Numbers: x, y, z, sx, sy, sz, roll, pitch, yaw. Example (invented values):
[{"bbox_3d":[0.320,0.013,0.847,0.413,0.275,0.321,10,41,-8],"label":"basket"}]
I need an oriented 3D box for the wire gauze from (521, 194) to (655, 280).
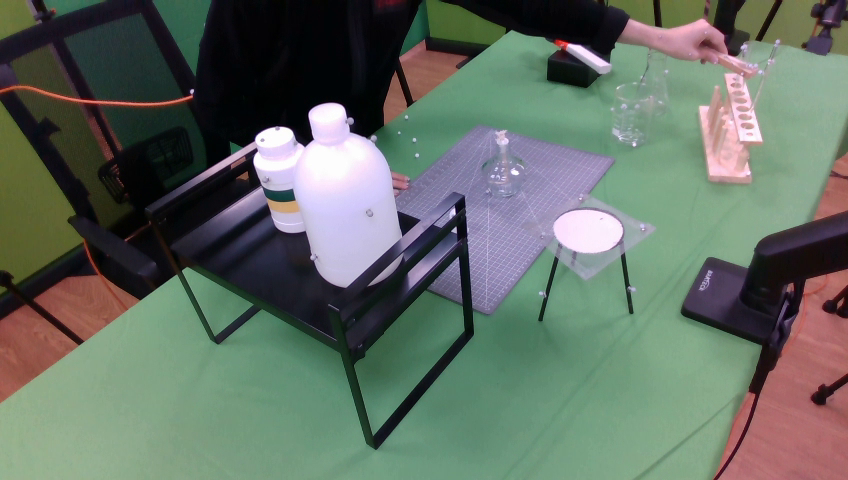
[{"bbox_3d":[0.207,-0.012,0.772,0.122,0.011,0.124,-28,44,-20],"label":"wire gauze"}]

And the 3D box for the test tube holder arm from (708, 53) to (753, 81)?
[{"bbox_3d":[0.544,-0.310,1.075,0.010,0.015,0.087,-28,53,-15],"label":"test tube holder arm"}]

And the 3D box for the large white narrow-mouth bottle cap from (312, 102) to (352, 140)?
[{"bbox_3d":[-0.088,-0.114,0.579,0.038,0.024,0.037,-3,39,3],"label":"large white narrow-mouth bottle cap"}]

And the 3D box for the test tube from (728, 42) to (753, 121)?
[{"bbox_3d":[0.564,-0.280,1.080,0.017,0.151,0.017,-6,41,6],"label":"test tube"}]

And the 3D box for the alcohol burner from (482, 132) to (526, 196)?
[{"bbox_3d":[0.138,-0.136,1.042,0.078,0.119,0.077,-4,43,4],"label":"alcohol burner"}]

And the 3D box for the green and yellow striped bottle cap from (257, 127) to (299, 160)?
[{"bbox_3d":[-0.169,-0.112,0.699,0.045,0.020,0.045,-6,40,5],"label":"green and yellow striped bottle cap"}]

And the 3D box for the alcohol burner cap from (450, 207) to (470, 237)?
[{"bbox_3d":[0.057,-0.032,0.987,0.034,0.048,0.033,-5,41,5],"label":"alcohol burner cap"}]

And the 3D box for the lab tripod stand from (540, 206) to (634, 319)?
[{"bbox_3d":[0.218,0.034,0.821,0.148,0.132,0.147,-4,43,4],"label":"lab tripod stand"}]

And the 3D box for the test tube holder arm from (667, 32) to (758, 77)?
[{"bbox_3d":[0.522,-0.339,1.101,0.013,0.015,0.177,-35,55,-21],"label":"test tube holder arm"}]

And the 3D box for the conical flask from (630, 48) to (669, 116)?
[{"bbox_3d":[0.457,-0.317,1.205,0.075,0.122,0.075,-4,41,4],"label":"conical flask"}]

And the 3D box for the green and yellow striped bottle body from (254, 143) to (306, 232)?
[{"bbox_3d":[-0.165,-0.073,0.732,0.063,0.120,0.063,-4,41,4],"label":"green and yellow striped bottle body"}]

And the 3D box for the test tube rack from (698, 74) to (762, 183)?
[{"bbox_3d":[0.547,-0.209,1.094,0.066,0.085,0.242,6,42,14],"label":"test tube rack"}]

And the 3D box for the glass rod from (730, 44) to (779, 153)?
[{"bbox_3d":[0.555,-0.233,1.020,0.008,0.200,0.008,2,39,-1],"label":"glass rod"}]

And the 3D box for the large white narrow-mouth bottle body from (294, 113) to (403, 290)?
[{"bbox_3d":[-0.082,-0.047,0.634,0.102,0.195,0.101,-4,39,3],"label":"large white narrow-mouth bottle body"}]

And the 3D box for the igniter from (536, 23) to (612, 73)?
[{"bbox_3d":[0.330,-0.439,1.366,0.057,0.025,0.274,-12,40,-20],"label":"igniter"}]

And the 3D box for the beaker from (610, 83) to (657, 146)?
[{"bbox_3d":[0.388,-0.235,1.138,0.074,0.101,0.083,-31,45,-26],"label":"beaker"}]
